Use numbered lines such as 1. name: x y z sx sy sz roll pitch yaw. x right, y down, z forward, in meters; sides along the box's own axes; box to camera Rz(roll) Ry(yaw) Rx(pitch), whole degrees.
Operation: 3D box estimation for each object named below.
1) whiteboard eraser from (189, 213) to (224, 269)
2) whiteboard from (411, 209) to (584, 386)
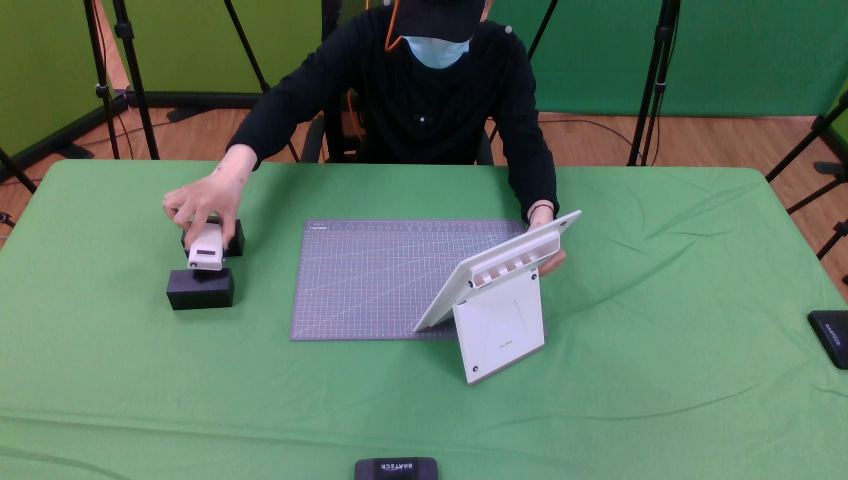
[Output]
1. whiteboard eraser: -0.387 0.004 1.082 0.056 0.042 0.112 6 49 -22
2. whiteboard: 0.134 0.110 0.944 0.217 0.306 0.143 -21 72 -22
